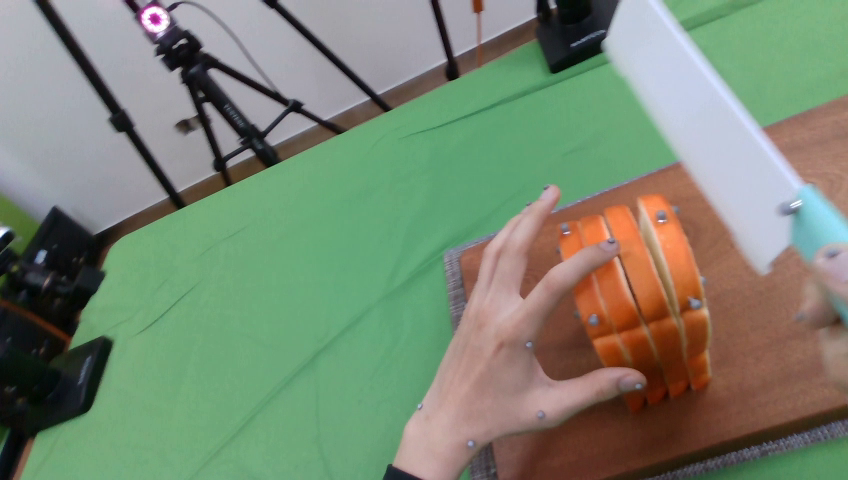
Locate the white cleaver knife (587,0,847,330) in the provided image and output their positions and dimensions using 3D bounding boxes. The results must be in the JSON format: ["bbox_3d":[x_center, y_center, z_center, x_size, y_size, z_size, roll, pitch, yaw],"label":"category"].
[{"bbox_3d":[0.157,-0.020,0.289,0.021,0.066,0.283,-20,63,-7],"label":"white cleaver knife"}]

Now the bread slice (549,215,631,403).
[{"bbox_3d":[0.123,0.043,0.452,0.018,0.136,0.106,-20,44,14],"label":"bread slice"}]

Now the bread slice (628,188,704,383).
[{"bbox_3d":[0.173,0.028,0.433,0.019,0.133,0.104,-17,47,11],"label":"bread slice"}]
